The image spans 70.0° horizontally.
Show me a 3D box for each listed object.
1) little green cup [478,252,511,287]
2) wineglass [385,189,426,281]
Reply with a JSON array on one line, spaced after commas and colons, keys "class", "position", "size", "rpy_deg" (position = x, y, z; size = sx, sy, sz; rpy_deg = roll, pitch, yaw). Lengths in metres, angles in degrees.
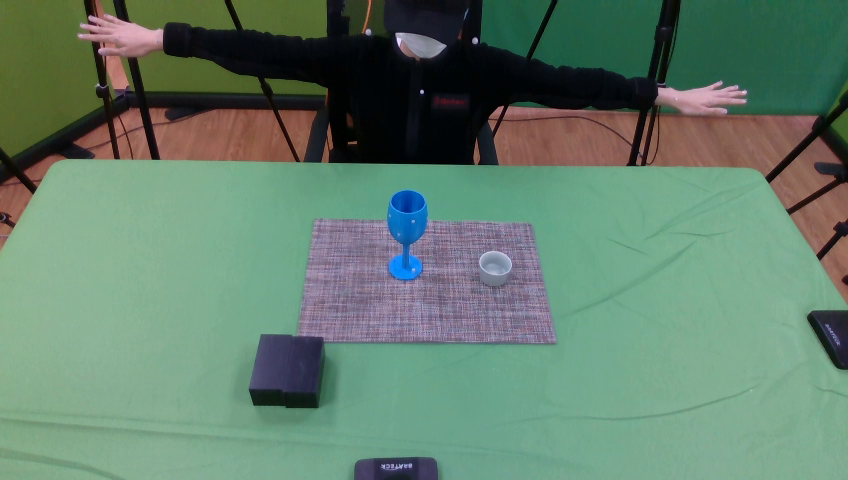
[{"class": "little green cup", "position": [0.131, 0.057, 1.137], "size": [0.061, 0.039, 0.061], "rpy_deg": [2, 46, -2]}, {"class": "wineglass", "position": [-0.034, -0.006, 1.091], "size": [0.074, 0.173, 0.073], "rpy_deg": [2, 46, -2]}]
